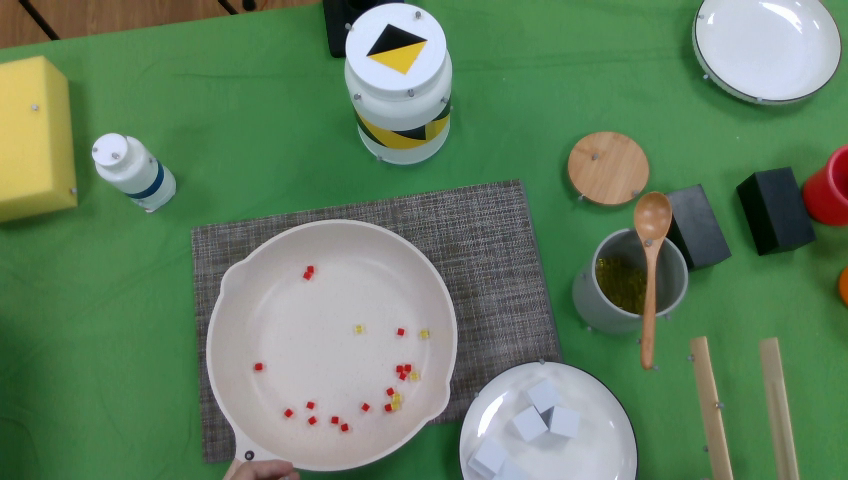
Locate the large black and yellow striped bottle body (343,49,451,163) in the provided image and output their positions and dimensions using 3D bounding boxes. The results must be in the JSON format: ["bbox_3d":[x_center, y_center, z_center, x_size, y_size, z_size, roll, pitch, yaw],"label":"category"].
[{"bbox_3d":[-0.031,-0.193,0.772,0.131,0.185,0.130,0,73,1],"label":"large black and yellow striped bottle body"}]

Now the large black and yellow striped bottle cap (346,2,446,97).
[{"bbox_3d":[-0.032,-0.219,0.692,0.115,0.019,0.114,0,75,1],"label":"large black and yellow striped bottle cap"}]

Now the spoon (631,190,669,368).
[{"bbox_3d":[0.243,0.041,0.658,0.041,0.022,0.193,8,77,-3],"label":"spoon"}]

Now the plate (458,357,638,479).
[{"bbox_3d":[0.144,0.244,0.716,0.208,0.039,0.206,0,75,0],"label":"plate"}]

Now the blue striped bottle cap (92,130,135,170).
[{"bbox_3d":[-0.373,-0.109,0.728,0.044,0.021,0.044,0,75,0],"label":"blue striped bottle cap"}]

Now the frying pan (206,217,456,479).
[{"bbox_3d":[-0.162,0.198,0.695,0.306,0.103,0.486,31,68,10],"label":"frying pan"}]

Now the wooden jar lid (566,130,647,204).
[{"bbox_3d":[0.248,-0.098,0.827,0.108,0.021,0.108,0,75,1],"label":"wooden jar lid"}]

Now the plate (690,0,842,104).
[{"bbox_3d":[0.485,-0.285,0.870,0.209,0.038,0.208,0,73,1],"label":"plate"}]

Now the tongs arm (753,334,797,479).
[{"bbox_3d":[0.383,0.293,0.644,0.028,0.028,0.385,13,70,-27],"label":"tongs arm"}]

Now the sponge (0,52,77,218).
[{"bbox_3d":[-0.554,-0.141,0.822,0.118,0.061,0.205,-13,75,-4],"label":"sponge"}]

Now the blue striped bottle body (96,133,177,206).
[{"bbox_3d":[-0.372,-0.093,0.776,0.063,0.121,0.062,0,73,1],"label":"blue striped bottle body"}]

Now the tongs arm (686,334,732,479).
[{"bbox_3d":[0.327,0.288,0.619,0.051,0.026,0.382,4,73,-26],"label":"tongs arm"}]

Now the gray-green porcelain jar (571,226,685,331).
[{"bbox_3d":[0.237,0.052,0.728,0.106,0.127,0.105,0,73,1],"label":"gray-green porcelain jar"}]
